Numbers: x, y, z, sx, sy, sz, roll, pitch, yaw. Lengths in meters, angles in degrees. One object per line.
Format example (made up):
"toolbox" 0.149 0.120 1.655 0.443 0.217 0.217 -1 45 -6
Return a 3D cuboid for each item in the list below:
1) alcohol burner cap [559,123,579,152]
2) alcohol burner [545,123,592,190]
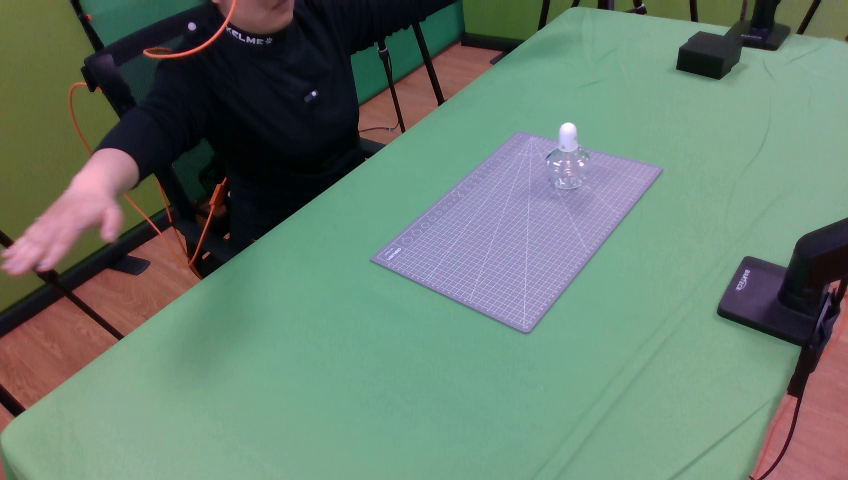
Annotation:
"alcohol burner cap" 0.241 -0.173 1.010 0.034 0.048 0.033 -8 44 8
"alcohol burner" 0.247 -0.147 1.034 0.078 0.120 0.077 -7 41 6
